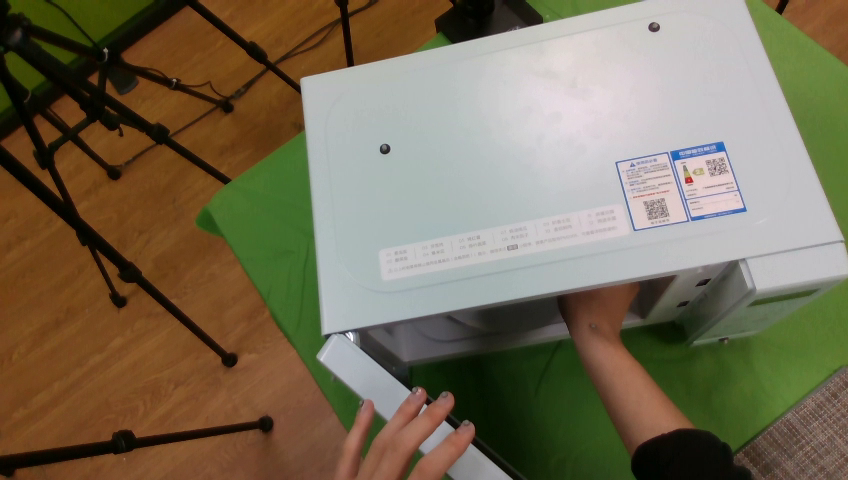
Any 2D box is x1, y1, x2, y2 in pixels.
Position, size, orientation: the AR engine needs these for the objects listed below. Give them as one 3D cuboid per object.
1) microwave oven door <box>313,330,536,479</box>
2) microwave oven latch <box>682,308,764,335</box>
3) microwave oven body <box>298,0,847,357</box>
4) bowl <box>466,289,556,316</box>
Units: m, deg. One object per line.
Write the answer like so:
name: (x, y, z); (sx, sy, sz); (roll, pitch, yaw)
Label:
microwave oven door: (0.066, 0.219, 0.570); (0.353, 0.245, 0.039); (35, 80, 19)
microwave oven latch: (0.335, 0.087, 0.682); (0.079, 0.030, 0.030); (-10, 70, 7)
microwave oven body: (0.125, -0.048, 0.660); (0.441, 0.262, 0.323); (-11, 70, 6)
bowl: (0.087, 0.022, 0.683); (0.151, 0.077, 0.150); (-3, 67, 7)
